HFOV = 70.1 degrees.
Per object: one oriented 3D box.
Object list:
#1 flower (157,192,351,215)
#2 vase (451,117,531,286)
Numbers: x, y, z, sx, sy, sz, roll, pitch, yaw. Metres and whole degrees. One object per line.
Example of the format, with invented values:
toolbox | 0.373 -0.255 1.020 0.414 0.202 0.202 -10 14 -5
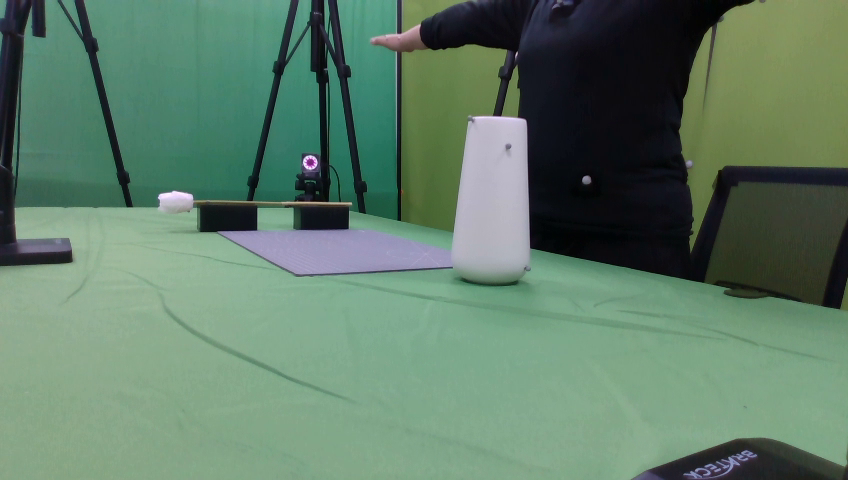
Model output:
flower | -0.314 -0.076 1.160 0.363 0.038 0.044 -4 -22 -24
vase | 0.083 -0.047 0.737 0.098 0.200 0.098 1 6 0
